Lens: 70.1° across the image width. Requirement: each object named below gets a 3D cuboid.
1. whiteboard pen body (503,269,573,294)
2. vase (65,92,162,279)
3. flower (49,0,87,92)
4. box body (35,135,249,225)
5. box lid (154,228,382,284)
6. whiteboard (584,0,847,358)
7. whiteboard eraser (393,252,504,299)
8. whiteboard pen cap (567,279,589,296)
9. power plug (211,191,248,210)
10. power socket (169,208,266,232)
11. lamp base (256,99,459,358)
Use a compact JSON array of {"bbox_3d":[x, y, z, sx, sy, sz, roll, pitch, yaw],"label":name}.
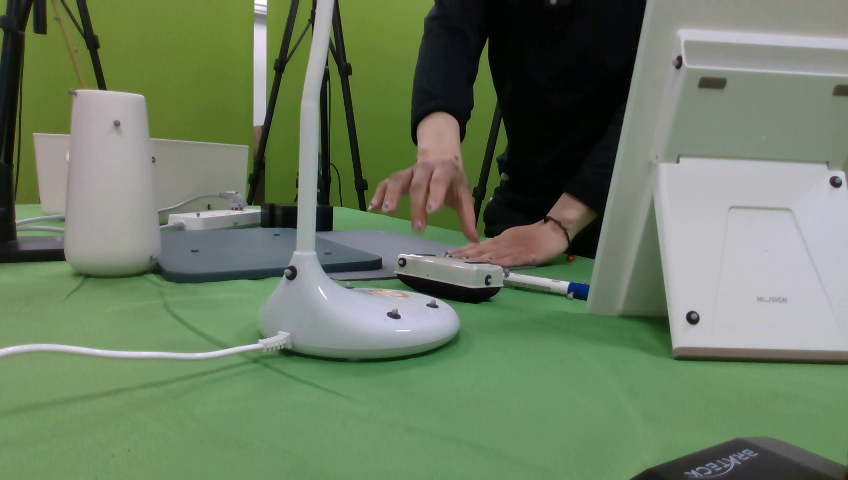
[{"bbox_3d":[0.122,0.046,0.679,0.140,0.017,0.017,8,9,30],"label":"whiteboard pen body"},{"bbox_3d":[-0.347,-0.060,0.673,0.098,0.200,0.098,1,7,0],"label":"vase"},{"bbox_3d":[-0.361,-0.142,0.658,0.038,0.361,0.044,-13,11,11],"label":"flower"},{"bbox_3d":[-0.561,-0.127,1.258,0.254,0.160,0.365,4,8,13],"label":"box body"},{"bbox_3d":[-0.250,0.014,0.853,0.265,0.015,0.369,-3,9,-32],"label":"box lid"},{"bbox_3d":[0.269,-0.034,0.466,0.217,0.305,0.143,2,27,-1],"label":"whiteboard"},{"bbox_3d":[0.024,0.036,0.637,0.112,0.042,0.056,8,7,42],"label":"whiteboard eraser"},{"bbox_3d":[0.171,0.051,0.648,0.033,0.018,0.018,11,11,30],"label":"whiteboard pen cap"},{"bbox_3d":[-0.384,-0.071,1.206,0.072,0.052,0.035,1,7,27],"label":"power plug"},{"bbox_3d":[-0.379,-0.038,1.129,0.072,0.032,0.227,4,8,18],"label":"power socket"},{"bbox_3d":[-0.055,-0.013,0.463,0.160,0.180,0.180,6,11,27],"label":"lamp base"}]
